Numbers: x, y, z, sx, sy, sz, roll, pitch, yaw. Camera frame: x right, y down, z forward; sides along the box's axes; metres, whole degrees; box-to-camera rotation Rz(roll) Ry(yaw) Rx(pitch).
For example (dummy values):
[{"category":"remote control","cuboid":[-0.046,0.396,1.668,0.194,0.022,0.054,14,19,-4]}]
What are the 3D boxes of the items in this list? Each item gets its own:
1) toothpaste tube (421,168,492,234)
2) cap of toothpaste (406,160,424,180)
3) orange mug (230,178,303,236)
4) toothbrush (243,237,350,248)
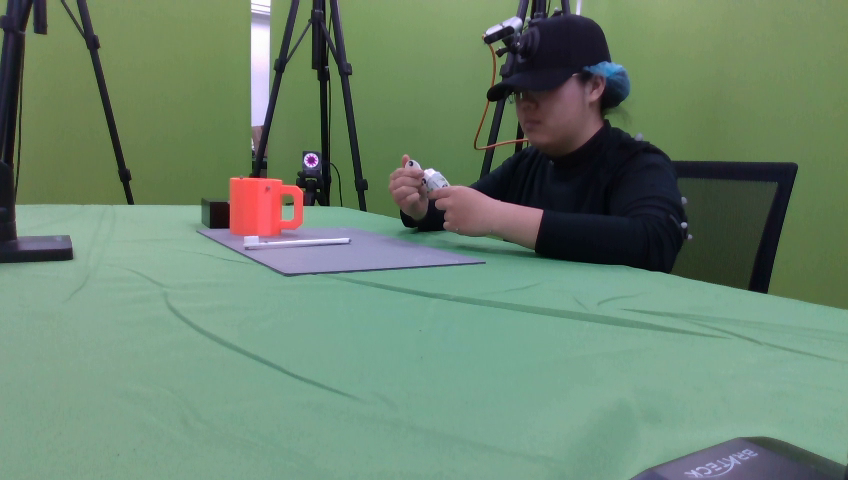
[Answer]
[{"category":"toothpaste tube","cuboid":[0.055,-0.069,1.056,0.164,0.034,0.055,46,19,19]},{"category":"cap of toothpaste","cuboid":[-0.016,-0.125,1.073,0.037,0.037,0.011,8,24,37]},{"category":"orange mug","cuboid":[-0.275,-0.060,1.058,0.126,0.101,0.083,-2,8,-5]},{"category":"toothbrush","cuboid":[-0.191,0.002,0.927,0.183,0.016,0.014,-2,-7,-41]}]
